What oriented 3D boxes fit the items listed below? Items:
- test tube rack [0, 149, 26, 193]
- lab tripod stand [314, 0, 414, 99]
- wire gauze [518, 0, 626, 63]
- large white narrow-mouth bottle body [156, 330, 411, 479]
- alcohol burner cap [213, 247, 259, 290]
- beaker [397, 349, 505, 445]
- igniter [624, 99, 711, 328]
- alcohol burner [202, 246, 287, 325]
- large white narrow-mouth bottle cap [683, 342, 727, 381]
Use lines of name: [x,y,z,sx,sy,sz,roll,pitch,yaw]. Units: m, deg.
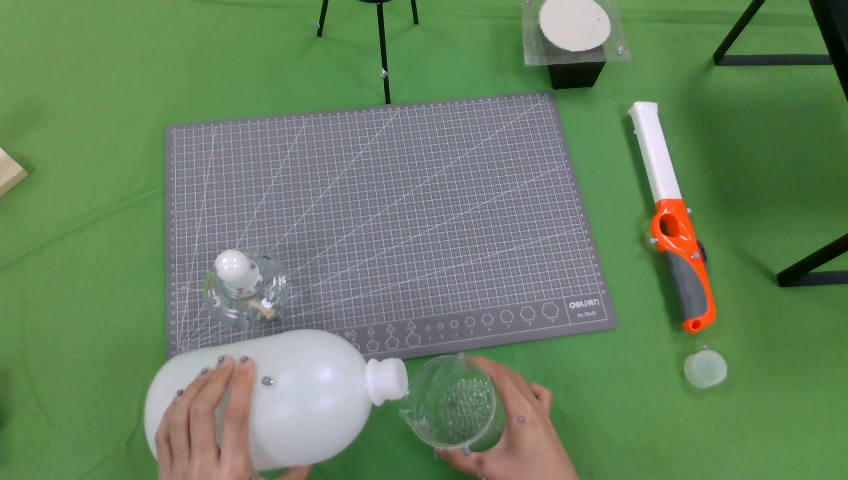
test tube rack: [-0.522,-0.024,0.572,0.066,0.085,0.242,39,70,11]
lab tripod stand: [-0.058,-0.255,0.678,0.148,0.132,0.147,2,69,-6]
wire gauze: [0.170,-0.260,0.714,0.121,0.011,0.124,0,68,-5]
large white narrow-mouth bottle body: [-0.101,0.126,0.469,0.194,0.102,0.101,-24,69,15]
alcohol burner cap: [-0.165,0.024,0.526,0.034,0.048,0.033,1,73,-1]
beaker: [0.029,0.143,0.532,0.084,0.101,0.073,-14,67,10]
igniter: [0.269,-0.037,0.675,0.057,0.025,0.274,0,68,-16]
alcohol burner: [-0.168,0.036,0.560,0.078,0.120,0.077,3,66,-5]
large white narrow-mouth bottle cap: [0.285,0.123,0.616,0.038,0.024,0.037,2,67,-4]
